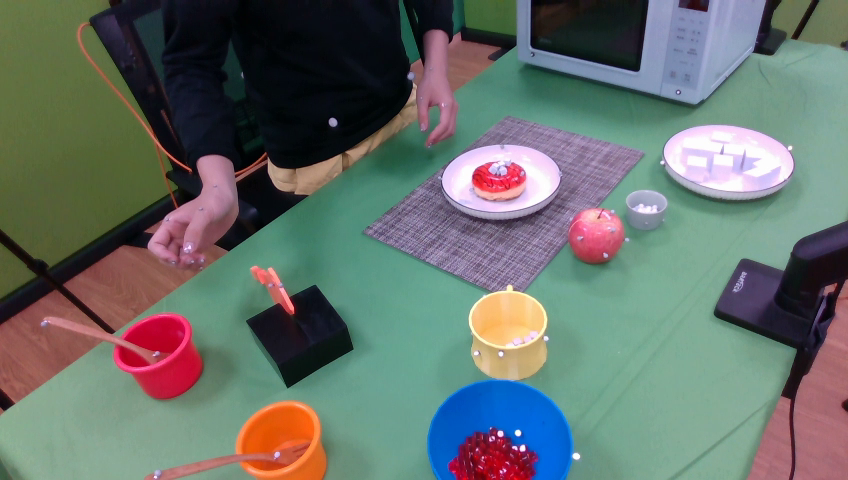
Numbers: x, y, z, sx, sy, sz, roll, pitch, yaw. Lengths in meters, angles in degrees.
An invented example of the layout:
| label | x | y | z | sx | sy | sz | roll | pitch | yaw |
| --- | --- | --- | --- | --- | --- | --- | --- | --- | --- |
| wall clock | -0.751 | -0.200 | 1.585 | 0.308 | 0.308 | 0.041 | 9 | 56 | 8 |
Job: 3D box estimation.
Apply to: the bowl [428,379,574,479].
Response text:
| label | x | y | z | sx | sy | sz | roll | pitch | yaw |
| --- | --- | --- | --- | --- | --- | --- | --- | --- | --- |
| bowl | 0.082 | 0.233 | 0.644 | 0.151 | 0.077 | 0.150 | -4 | 40 | 4 |

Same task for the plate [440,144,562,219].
| label | x | y | z | sx | sy | sz | roll | pitch | yaw |
| --- | --- | --- | --- | --- | --- | --- | --- | --- | --- |
| plate | 0.134 | -0.098 | 1.051 | 0.209 | 0.038 | 0.208 | -4 | 40 | 4 |

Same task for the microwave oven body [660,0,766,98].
| label | x | y | z | sx | sy | sz | roll | pitch | yaw |
| --- | --- | --- | --- | --- | --- | --- | --- | --- | --- |
| microwave oven body | 0.472 | -0.513 | 1.317 | 0.438 | 0.261 | 0.327 | 26 | 51 | 34 |

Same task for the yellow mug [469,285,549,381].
| label | x | y | z | sx | sy | sz | roll | pitch | yaw |
| --- | --- | --- | --- | --- | --- | --- | --- | --- | --- |
| yellow mug | 0.112 | 0.112 | 0.792 | 0.100 | 0.064 | 0.130 | 0 | 40 | 9 |

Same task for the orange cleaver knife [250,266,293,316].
| label | x | y | z | sx | sy | sz | roll | pitch | yaw |
| --- | --- | --- | --- | --- | --- | --- | --- | --- | --- |
| orange cleaver knife | -0.221 | 0.070 | 0.873 | 0.012 | 0.077 | 0.210 | -26 | 11 | -21 |

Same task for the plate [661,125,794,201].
| label | x | y | z | sx | sy | sz | roll | pitch | yaw |
| --- | --- | --- | --- | --- | --- | --- | --- | --- | --- |
| plate | 0.513 | -0.128 | 1.035 | 0.207 | 0.039 | 0.206 | -4 | 40 | 4 |

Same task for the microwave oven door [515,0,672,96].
| label | x | y | z | sx | sy | sz | roll | pitch | yaw |
| --- | --- | --- | --- | --- | --- | --- | --- | --- | --- |
| microwave oven door | 0.343 | -0.455 | 1.259 | 0.353 | 0.245 | 0.039 | 26 | 51 | 33 |

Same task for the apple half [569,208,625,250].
| label | x | y | z | sx | sy | sz | roll | pitch | yaw |
| --- | --- | --- | --- | --- | --- | --- | --- | --- | --- |
| apple half | 0.262 | -0.014 | 0.913 | 0.080 | 0.075 | 0.053 | 4 | 37 | 20 |

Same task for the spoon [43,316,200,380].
| label | x | y | z | sx | sy | sz | roll | pitch | yaw |
| --- | --- | --- | --- | --- | --- | --- | --- | --- | --- |
| spoon | -0.385 | 0.136 | 0.778 | 0.195 | 0.021 | 0.041 | 31 | 35 | -24 |

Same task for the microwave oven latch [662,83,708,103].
| label | x | y | z | sx | sy | sz | roll | pitch | yaw |
| --- | --- | --- | --- | --- | --- | --- | --- | --- | --- |
| microwave oven latch | 0.518 | -0.296 | 1.204 | 0.078 | 0.029 | 0.030 | 28 | 52 | 35 |

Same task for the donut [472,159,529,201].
| label | x | y | z | sx | sy | sz | roll | pitch | yaw |
| --- | --- | --- | --- | --- | --- | --- | --- | --- | --- |
| donut | 0.132 | -0.105 | 1.043 | 0.099 | 0.048 | 0.098 | -5 | 38 | 4 |

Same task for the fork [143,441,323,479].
| label | x | y | z | sx | sy | sz | roll | pitch | yaw |
| --- | --- | --- | --- | --- | --- | --- | --- | --- | --- |
| fork | -0.189 | 0.231 | 0.631 | 0.028 | 0.018 | 0.209 | 36 | 13 | 37 |

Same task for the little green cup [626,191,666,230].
| label | x | y | z | sx | sy | sz | roll | pitch | yaw |
| --- | --- | --- | --- | --- | --- | --- | --- | --- | --- |
| little green cup | 0.352 | -0.046 | 0.963 | 0.061 | 0.039 | 0.061 | -4 | 40 | 4 |

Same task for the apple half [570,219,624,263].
| label | x | y | z | sx | sy | sz | roll | pitch | yaw |
| --- | --- | --- | --- | --- | --- | --- | --- | --- | --- |
| apple half | 0.250 | 0.010 | 0.885 | 0.081 | 0.081 | 0.033 | 7 | 39 | 17 |
